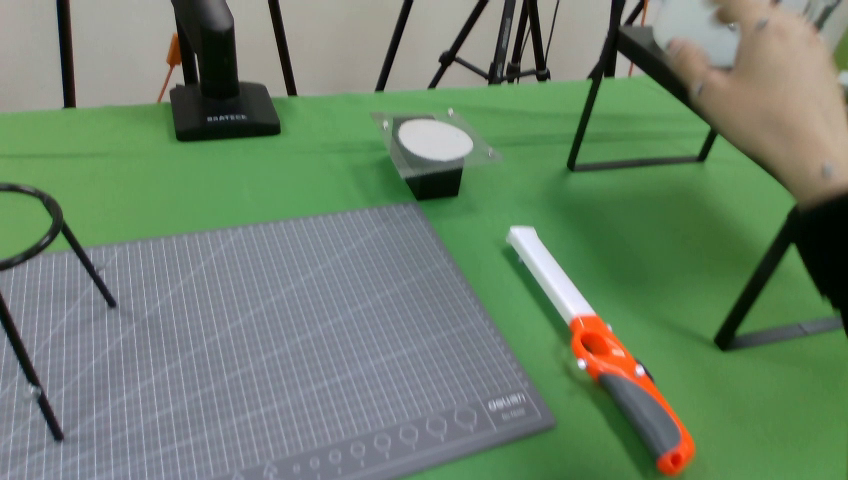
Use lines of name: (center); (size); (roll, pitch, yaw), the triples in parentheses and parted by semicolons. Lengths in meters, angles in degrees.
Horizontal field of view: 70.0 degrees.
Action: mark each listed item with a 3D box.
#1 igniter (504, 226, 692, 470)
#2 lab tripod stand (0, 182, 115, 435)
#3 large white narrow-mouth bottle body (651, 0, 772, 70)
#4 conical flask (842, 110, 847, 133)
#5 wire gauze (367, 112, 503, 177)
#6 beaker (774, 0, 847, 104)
igniter: (0.144, 0.079, 0.538); (0.057, 0.025, 0.273); (1, 39, -27)
lab tripod stand: (-0.277, 0.041, 0.409); (0.148, 0.132, 0.147); (7, 39, -6)
large white narrow-mouth bottle body: (0.295, -0.271, 0.574); (0.102, 0.196, 0.101); (6, 40, -4)
conical flask: (0.406, -0.133, 0.487); (0.075, 0.123, 0.074); (5, 40, -4)
wire gauze: (0.010, -0.113, 0.682); (0.122, 0.011, 0.123); (-8, 43, -22)
beaker: (0.382, -0.186, 0.565); (0.084, 0.101, 0.073); (-12, 43, -22)
